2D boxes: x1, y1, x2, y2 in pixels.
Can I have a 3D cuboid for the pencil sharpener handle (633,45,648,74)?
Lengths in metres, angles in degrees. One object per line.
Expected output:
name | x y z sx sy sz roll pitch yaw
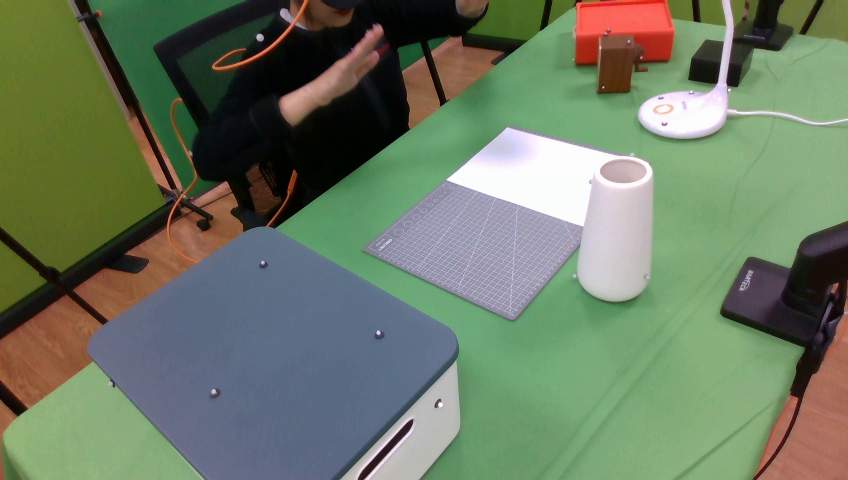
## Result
pencil sharpener handle | 0.454 -0.378 1.262 0.030 0.068 0.036 1 47 13

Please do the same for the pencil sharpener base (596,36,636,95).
pencil sharpener base | 0.406 -0.369 1.280 0.076 0.107 0.061 1 41 13

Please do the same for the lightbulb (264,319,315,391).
lightbulb | -0.175 0.154 0.806 0.060 0.060 0.107 -24 58 -17

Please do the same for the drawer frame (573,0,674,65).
drawer frame | 0.464 -0.492 1.434 0.213 0.083 0.201 1 40 12

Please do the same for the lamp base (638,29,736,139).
lamp base | 0.501 -0.302 1.125 0.179 0.181 0.160 -4 40 3

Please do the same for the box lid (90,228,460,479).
box lid | -0.173 0.112 0.662 0.368 0.015 0.264 25 50 35

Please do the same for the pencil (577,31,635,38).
pencil | 0.431 -0.489 1.443 0.012 0.012 0.192 -25 30 -18

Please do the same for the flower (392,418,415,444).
flower | -0.153 0.228 0.743 0.360 0.038 0.044 -2 44 16

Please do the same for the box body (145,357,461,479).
box body | -0.162 0.170 0.708 0.361 0.161 0.255 25 50 34

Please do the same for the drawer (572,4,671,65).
drawer | 0.461 -0.490 1.435 0.211 0.073 0.194 2 41 12

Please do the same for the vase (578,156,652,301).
vase | 0.261 -0.011 0.812 0.098 0.201 0.097 -4 40 4
